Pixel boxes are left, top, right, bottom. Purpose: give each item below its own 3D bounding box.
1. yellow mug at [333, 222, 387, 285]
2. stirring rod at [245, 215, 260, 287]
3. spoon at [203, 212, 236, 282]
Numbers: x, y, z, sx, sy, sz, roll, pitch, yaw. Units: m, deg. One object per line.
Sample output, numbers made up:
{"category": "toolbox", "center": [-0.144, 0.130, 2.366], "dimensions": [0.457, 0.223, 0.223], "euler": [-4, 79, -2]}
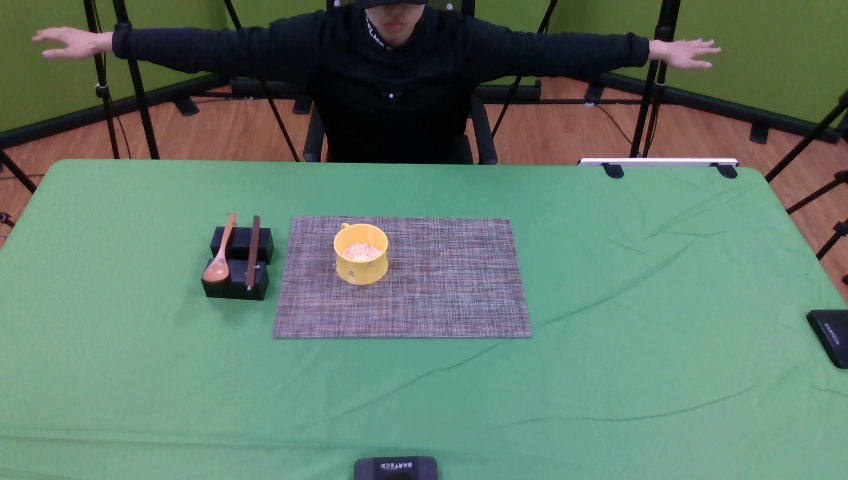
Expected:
{"category": "yellow mug", "center": [-0.127, 0.016, 1.139], "dimensions": [0.100, 0.064, 0.130], "euler": [-23, 51, -24]}
{"category": "stirring rod", "center": [-0.310, 0.016, 1.096], "dimensions": [0.014, 0.006, 0.175], "euler": [27, 36, -32]}
{"category": "spoon", "center": [-0.361, 0.009, 1.097], "dimensions": [0.041, 0.022, 0.192], "euler": [-1, 44, -2]}
